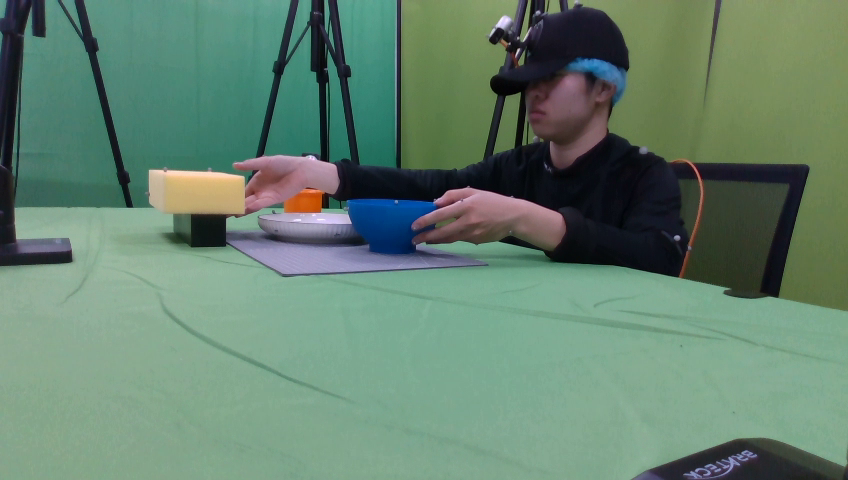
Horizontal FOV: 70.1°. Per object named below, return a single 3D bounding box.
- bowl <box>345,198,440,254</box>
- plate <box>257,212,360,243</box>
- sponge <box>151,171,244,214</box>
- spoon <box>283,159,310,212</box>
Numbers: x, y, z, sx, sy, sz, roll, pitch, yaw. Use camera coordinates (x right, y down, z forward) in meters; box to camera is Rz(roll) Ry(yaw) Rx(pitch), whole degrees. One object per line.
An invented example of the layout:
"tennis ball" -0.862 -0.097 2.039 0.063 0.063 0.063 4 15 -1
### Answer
"bowl" -0.051 -0.021 0.952 0.151 0.077 0.151 3 8 0
"plate" -0.189 -0.023 1.072 0.209 0.038 0.209 3 7 0
"sponge" -0.383 -0.081 1.010 0.119 0.061 0.206 -1 8 -30
"spoon" -0.279 -0.111 1.324 0.042 0.193 0.021 2 -39 -35
